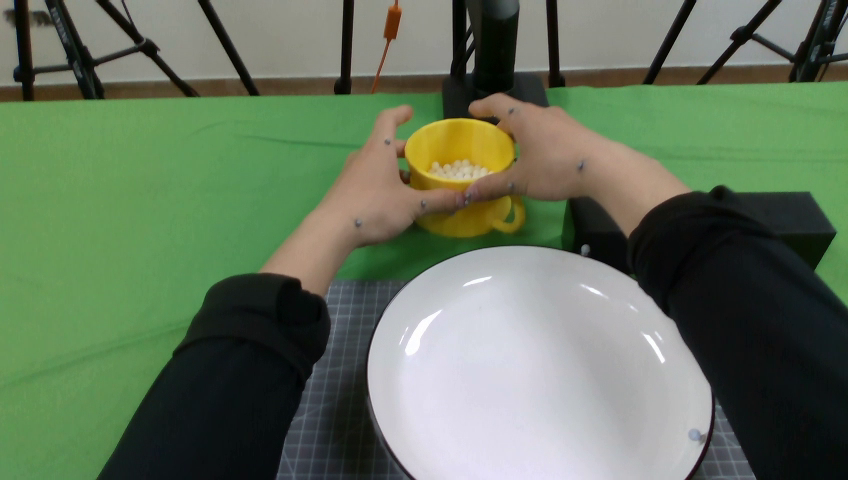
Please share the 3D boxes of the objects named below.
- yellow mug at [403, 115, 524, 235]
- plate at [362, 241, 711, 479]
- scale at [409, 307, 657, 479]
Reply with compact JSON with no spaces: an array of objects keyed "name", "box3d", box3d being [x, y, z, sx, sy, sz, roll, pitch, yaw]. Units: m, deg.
[{"name":"yellow mug","box3d":[0.042,-0.054,0.550,0.100,0.064,0.129,-32,52,-28]},{"name":"plate","box3d":[0.066,0.085,0.380,0.209,0.038,0.207,0,45,0]},{"name":"scale","box3d":[0.065,0.128,0.382,0.148,0.032,0.199,0,45,2]}]
